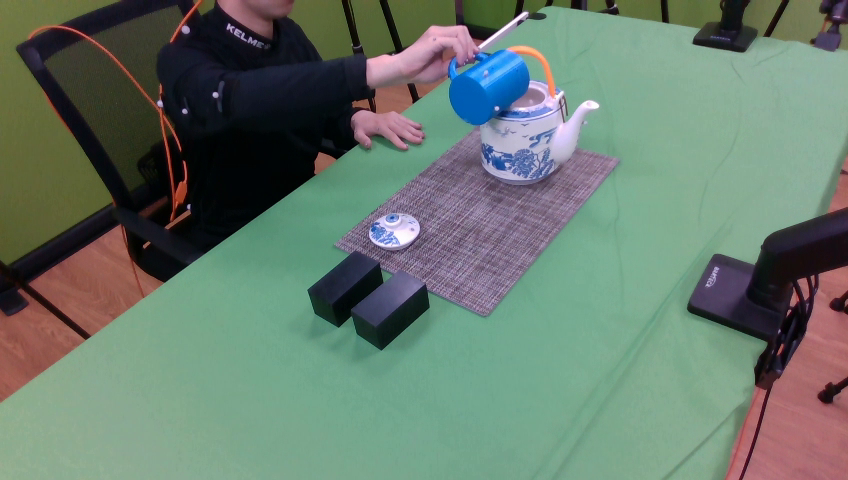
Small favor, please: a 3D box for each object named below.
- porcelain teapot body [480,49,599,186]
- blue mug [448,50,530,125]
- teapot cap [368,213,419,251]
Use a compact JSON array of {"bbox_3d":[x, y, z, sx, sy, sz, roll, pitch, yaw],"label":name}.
[{"bbox_3d":[0.193,-0.208,1.024,0.204,0.226,0.145,17,46,25],"label":"porcelain teapot body"},{"bbox_3d":[0.091,-0.250,0.946,0.116,0.082,0.106,46,57,8],"label":"blue mug"},{"bbox_3d":[-0.050,-0.019,0.975,0.085,0.044,0.084,-4,43,4],"label":"teapot cap"}]
